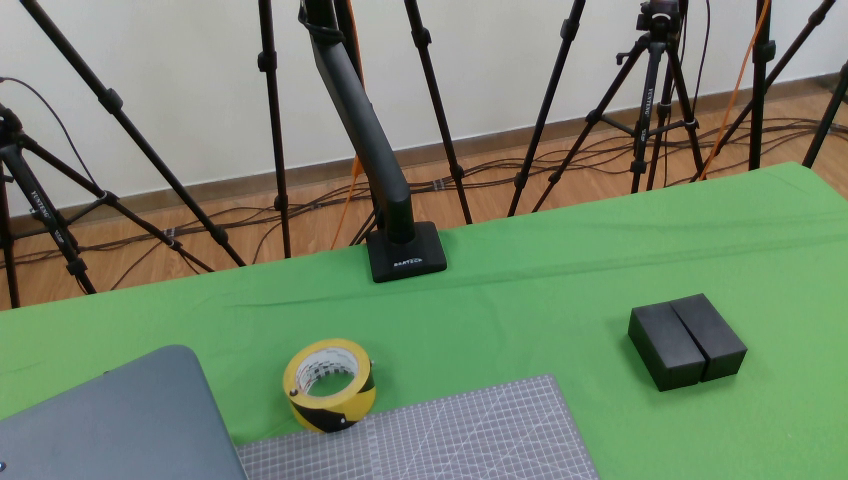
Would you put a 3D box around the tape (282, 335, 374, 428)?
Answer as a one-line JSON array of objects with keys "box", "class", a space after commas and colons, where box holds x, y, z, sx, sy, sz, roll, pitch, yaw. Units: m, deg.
[{"box": [-0.123, 0.181, 0.783, 0.117, 0.053, 0.115, -3, 40, 3], "class": "tape"}]

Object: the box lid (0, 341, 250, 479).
[{"box": [-0.351, 0.249, 0.538, 0.372, 0.015, 0.260, -25, 46, -20], "class": "box lid"}]

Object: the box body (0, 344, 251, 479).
[{"box": [-0.347, 0.305, 0.588, 0.364, 0.162, 0.251, -26, 46, -20], "class": "box body"}]
